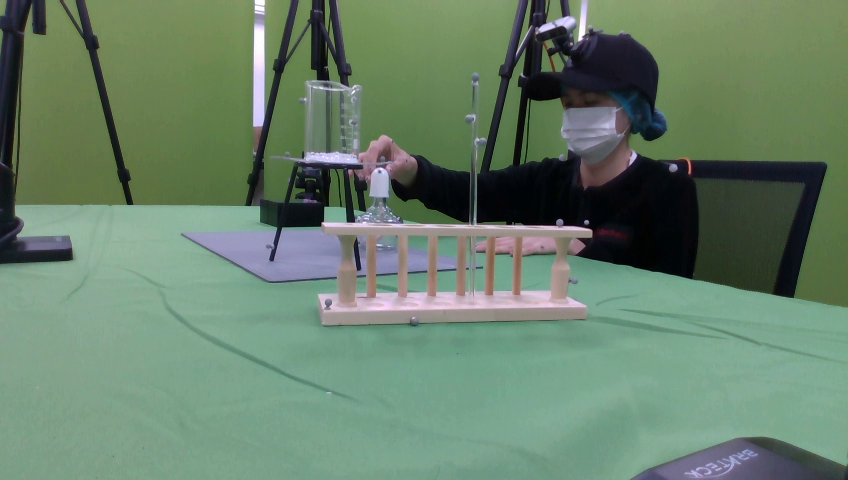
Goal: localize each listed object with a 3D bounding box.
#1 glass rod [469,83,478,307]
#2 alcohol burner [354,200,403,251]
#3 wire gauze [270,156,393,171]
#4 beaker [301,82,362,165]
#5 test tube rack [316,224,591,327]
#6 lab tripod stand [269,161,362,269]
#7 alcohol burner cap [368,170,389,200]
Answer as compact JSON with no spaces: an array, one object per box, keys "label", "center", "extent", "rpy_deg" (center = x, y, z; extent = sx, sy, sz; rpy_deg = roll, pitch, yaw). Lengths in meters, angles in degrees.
[{"label":"glass rod","center":[0.042,-0.033,0.523],"extent":[0.008,0.199,0.008],"rpy_deg":[-1,14,0]},{"label":"alcohol burner","center":[-0.072,-0.042,0.944],"extent":[0.078,0.119,0.078],"rpy_deg":[1,9,0]},{"label":"wire gauze","center":[-0.122,-0.100,0.786],"extent":[0.122,0.011,0.124],"rpy_deg":[-5,14,-38]},{"label":"beaker","center":[-0.117,-0.147,0.776],"extent":[0.074,0.100,0.083],"rpy_deg":[-3,10,-38]},{"label":"test tube rack","center":[0.026,0.028,0.555],"extent":[0.243,0.085,0.066],"rpy_deg":[1,7,-14]},{"label":"lab tripod stand","center":[-0.125,-0.036,0.794],"extent":[0.148,0.131,0.148],"rpy_deg":[5,7,0]},{"label":"alcohol burner cap","center":[-0.069,-0.085,0.939],"extent":[0.034,0.048,0.034],"rpy_deg":[4,6,0]}]
